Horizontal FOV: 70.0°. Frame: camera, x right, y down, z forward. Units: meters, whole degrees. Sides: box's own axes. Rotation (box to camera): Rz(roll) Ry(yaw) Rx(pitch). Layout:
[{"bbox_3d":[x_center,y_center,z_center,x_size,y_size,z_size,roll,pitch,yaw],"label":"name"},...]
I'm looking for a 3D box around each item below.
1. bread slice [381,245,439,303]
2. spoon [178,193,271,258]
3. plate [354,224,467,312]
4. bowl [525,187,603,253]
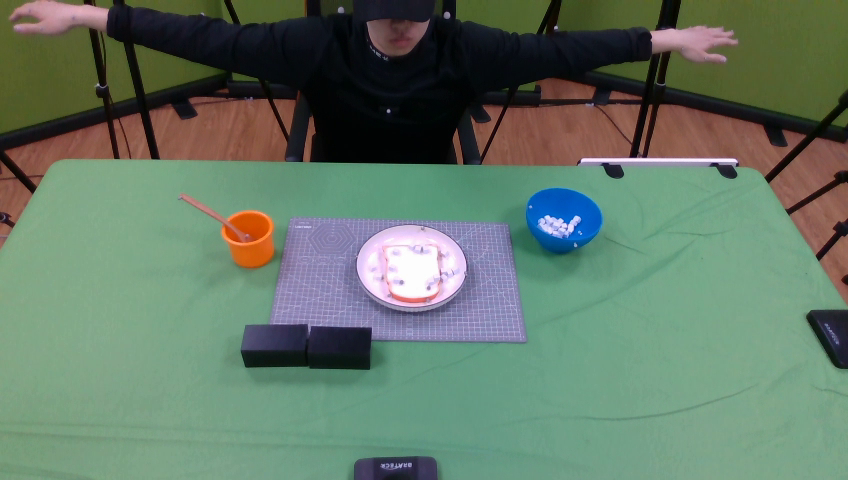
[{"bbox_3d":[-0.022,0.061,1.126,0.107,0.018,0.133,-3,45,-8],"label":"bread slice"},{"bbox_3d":[-0.362,-0.028,1.109,0.021,0.195,0.041,-30,32,31],"label":"spoon"},{"bbox_3d":[-0.025,0.055,1.128,0.209,0.038,0.208,3,46,-3],"label":"plate"},{"bbox_3d":[0.271,-0.028,1.206,0.151,0.077,0.150,2,46,-2],"label":"bowl"}]
